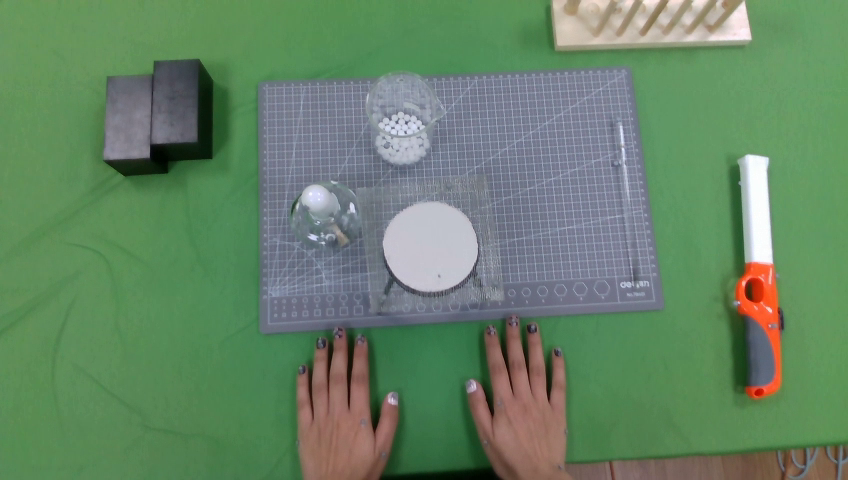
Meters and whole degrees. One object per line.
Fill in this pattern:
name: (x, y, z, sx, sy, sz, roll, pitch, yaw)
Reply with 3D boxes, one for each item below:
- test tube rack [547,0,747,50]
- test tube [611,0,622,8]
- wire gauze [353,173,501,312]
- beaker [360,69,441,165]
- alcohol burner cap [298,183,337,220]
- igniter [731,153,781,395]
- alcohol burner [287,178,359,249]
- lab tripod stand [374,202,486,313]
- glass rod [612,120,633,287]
test tube rack: (0.277, -0.282, 0.720, 0.242, 0.085, 0.066, -3, 77, -2)
test tube: (0.239, -0.308, 0.674, 0.017, 0.150, 0.017, 2, 76, -7)
wire gauze: (0.002, 0.001, 0.553, 0.125, 0.011, 0.121, -6, 77, -3)
beaker: (-0.025, -0.130, 0.666, 0.084, 0.100, 0.073, 6, 78, -1)
alcohol burner cap: (-0.107, -0.040, 0.600, 0.034, 0.048, 0.034, 0, 82, 4)
igniter: (0.373, 0.035, 0.685, 0.057, 0.025, 0.275, 6, 78, -11)
alcohol burner: (-0.108, -0.033, 0.635, 0.078, 0.119, 0.077, 0, 75, -1)
lab tripod stand: (0.001, 0.019, 0.618, 0.148, 0.132, 0.147, 0, 77, 0)
glass rod: (0.231, -0.045, 0.703, 0.008, 0.008, 0.199, -2, 81, -3)
